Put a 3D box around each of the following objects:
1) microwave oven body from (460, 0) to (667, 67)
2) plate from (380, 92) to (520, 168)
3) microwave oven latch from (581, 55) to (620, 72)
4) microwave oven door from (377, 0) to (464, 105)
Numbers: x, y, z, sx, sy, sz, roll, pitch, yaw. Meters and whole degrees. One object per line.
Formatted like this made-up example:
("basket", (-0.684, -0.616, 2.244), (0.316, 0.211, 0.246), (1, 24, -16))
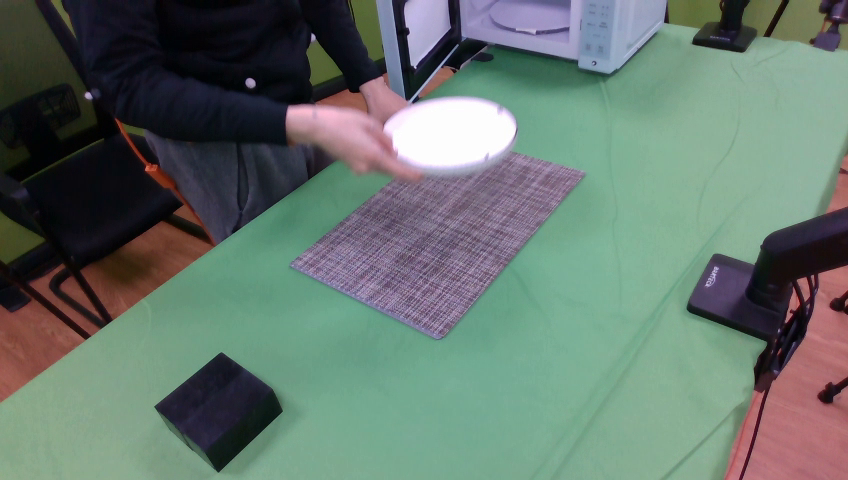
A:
("microwave oven body", (0.324, -0.609, 1.437), (0.438, 0.261, 0.327), (22, 50, 31))
("plate", (0.039, -0.162, 0.910), (0.209, 0.038, 0.208), (-3, 38, 3))
("microwave oven latch", (0.386, -0.393, 1.330), (0.078, 0.029, 0.030), (25, 51, 32))
("microwave oven door", (0.003, -0.492, 1.344), (0.039, 0.245, 0.356), (11, 44, 21))
